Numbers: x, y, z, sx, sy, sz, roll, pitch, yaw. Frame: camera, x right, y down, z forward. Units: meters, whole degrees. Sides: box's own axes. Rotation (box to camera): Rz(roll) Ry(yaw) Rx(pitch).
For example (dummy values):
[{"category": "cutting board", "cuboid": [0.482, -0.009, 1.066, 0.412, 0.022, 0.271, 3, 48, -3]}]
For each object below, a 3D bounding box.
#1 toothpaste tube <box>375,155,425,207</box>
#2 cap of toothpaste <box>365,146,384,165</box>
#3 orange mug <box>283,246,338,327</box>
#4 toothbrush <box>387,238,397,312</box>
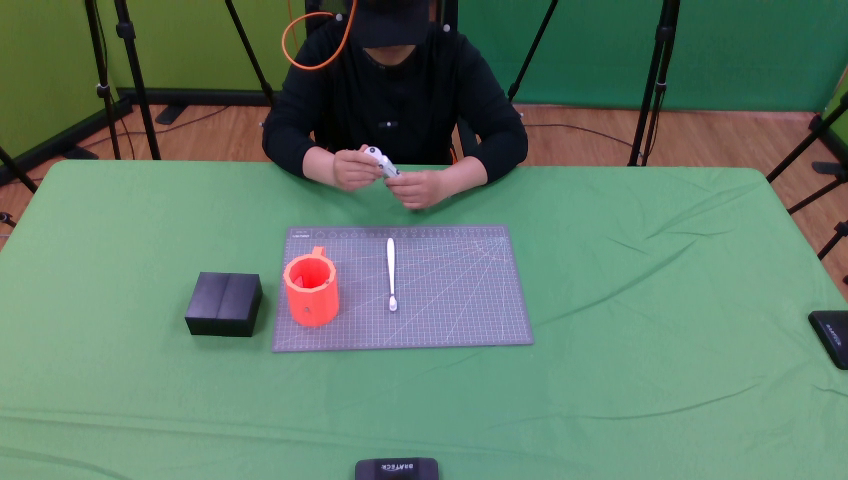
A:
[{"category": "toothpaste tube", "cuboid": [-0.052, -0.119, 1.218, 0.034, 0.166, 0.054, -49, 46, -5]}, {"category": "cap of toothpaste", "cuboid": [-0.093, -0.160, 1.149, 0.037, 0.037, 0.011, 4, 16, 1]}, {"category": "orange mug", "cuboid": [-0.193, 0.074, 1.056, 0.083, 0.101, 0.125, 5, 50, 1]}, {"category": "toothbrush", "cuboid": [-0.062, 0.059, 1.136, 0.014, 0.017, 0.180, -9, 45, 4]}]
